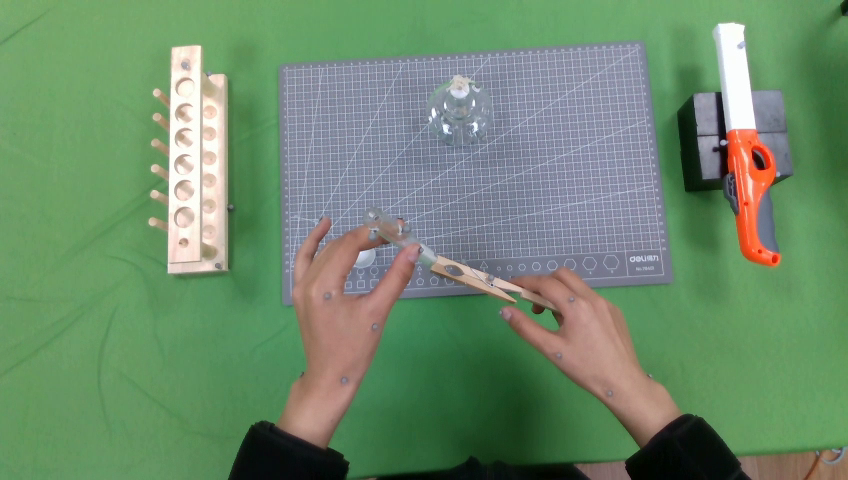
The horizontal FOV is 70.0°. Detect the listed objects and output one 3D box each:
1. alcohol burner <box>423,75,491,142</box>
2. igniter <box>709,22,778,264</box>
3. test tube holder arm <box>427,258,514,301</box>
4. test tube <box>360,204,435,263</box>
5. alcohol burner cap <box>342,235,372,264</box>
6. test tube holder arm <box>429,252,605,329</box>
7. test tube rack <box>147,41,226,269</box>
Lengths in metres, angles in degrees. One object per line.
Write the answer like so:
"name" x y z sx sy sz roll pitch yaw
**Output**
"alcohol burner" 0.037 -0.154 0.676 0.078 0.119 0.077 -1 81 4
"igniter" 0.345 -0.109 0.659 0.057 0.025 0.275 -1 78 -1
"test tube holder arm" 0.045 0.038 0.573 0.088 0.015 0.010 21 79 -3
"test tube" -0.016 -0.002 0.477 0.017 0.151 0.017 -3 77 16
"alcohol burner cap" -0.078 0.009 0.688 0.034 0.048 0.033 0 80 0
"test tube holder arm" 0.089 0.049 0.577 0.178 0.015 0.013 21 79 -3
"test tube rack" -0.273 -0.093 0.691 0.067 0.085 0.241 -3 81 1
